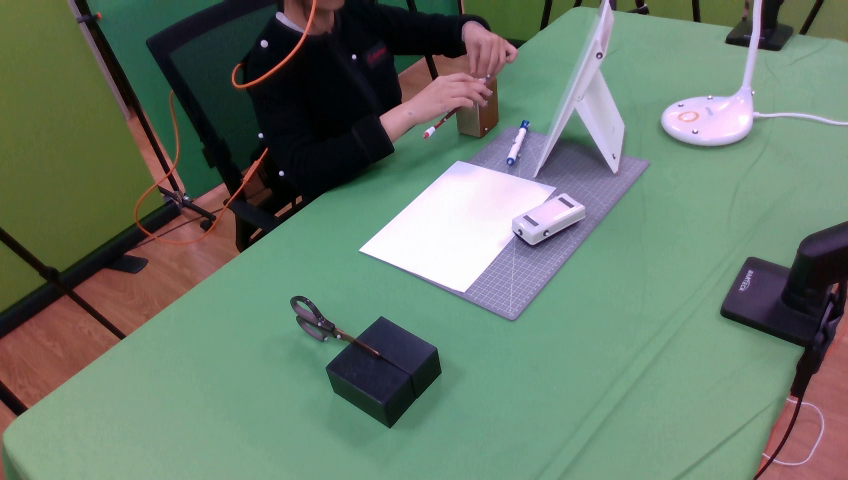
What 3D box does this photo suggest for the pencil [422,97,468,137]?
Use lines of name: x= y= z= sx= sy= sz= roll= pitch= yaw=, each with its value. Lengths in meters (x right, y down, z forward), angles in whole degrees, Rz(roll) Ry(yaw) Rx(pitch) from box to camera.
pencil: x=0.055 y=-0.248 z=1.155 sx=0.012 sy=0.012 sz=0.194 roll=21 pitch=49 yaw=30

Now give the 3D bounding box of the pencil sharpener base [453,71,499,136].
pencil sharpener base: x=0.108 y=-0.276 z=1.219 sx=0.061 sy=0.107 sz=0.077 roll=20 pitch=48 yaw=31

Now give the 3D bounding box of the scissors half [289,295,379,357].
scissors half: x=-0.122 y=0.114 z=0.803 sx=0.174 sy=0.040 sz=0.013 roll=26 pitch=50 yaw=32

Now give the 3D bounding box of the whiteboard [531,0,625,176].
whiteboard: x=0.320 y=-0.258 z=1.050 sx=0.144 sy=0.306 sz=0.217 roll=22 pitch=45 yaw=5

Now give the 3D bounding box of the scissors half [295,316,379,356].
scissors half: x=-0.119 y=0.132 z=0.813 sx=0.174 sy=0.040 sz=0.013 roll=9 pitch=34 yaw=45

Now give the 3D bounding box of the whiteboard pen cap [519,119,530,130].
whiteboard pen cap: x=0.199 y=-0.226 z=1.204 sx=0.018 sy=0.018 sz=0.033 roll=7 pitch=41 yaw=18

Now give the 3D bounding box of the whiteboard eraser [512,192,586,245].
whiteboard eraser: x=0.199 y=-0.032 z=0.962 sx=0.113 sy=0.042 sz=0.055 roll=-27 pitch=42 yaw=-20

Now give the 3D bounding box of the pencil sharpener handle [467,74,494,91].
pencil sharpener handle: x=0.121 y=-0.330 z=1.239 sx=0.067 sy=0.036 sz=0.031 roll=14 pitch=45 yaw=36

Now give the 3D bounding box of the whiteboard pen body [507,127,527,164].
whiteboard pen body: x=0.181 y=-0.189 z=1.162 sx=0.017 sy=0.017 sz=0.140 roll=8 pitch=42 yaw=19

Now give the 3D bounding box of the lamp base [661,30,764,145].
lamp base: x=0.535 y=-0.287 z=1.096 sx=0.179 sy=0.181 sz=0.159 roll=-10 pitch=40 yaw=-4
